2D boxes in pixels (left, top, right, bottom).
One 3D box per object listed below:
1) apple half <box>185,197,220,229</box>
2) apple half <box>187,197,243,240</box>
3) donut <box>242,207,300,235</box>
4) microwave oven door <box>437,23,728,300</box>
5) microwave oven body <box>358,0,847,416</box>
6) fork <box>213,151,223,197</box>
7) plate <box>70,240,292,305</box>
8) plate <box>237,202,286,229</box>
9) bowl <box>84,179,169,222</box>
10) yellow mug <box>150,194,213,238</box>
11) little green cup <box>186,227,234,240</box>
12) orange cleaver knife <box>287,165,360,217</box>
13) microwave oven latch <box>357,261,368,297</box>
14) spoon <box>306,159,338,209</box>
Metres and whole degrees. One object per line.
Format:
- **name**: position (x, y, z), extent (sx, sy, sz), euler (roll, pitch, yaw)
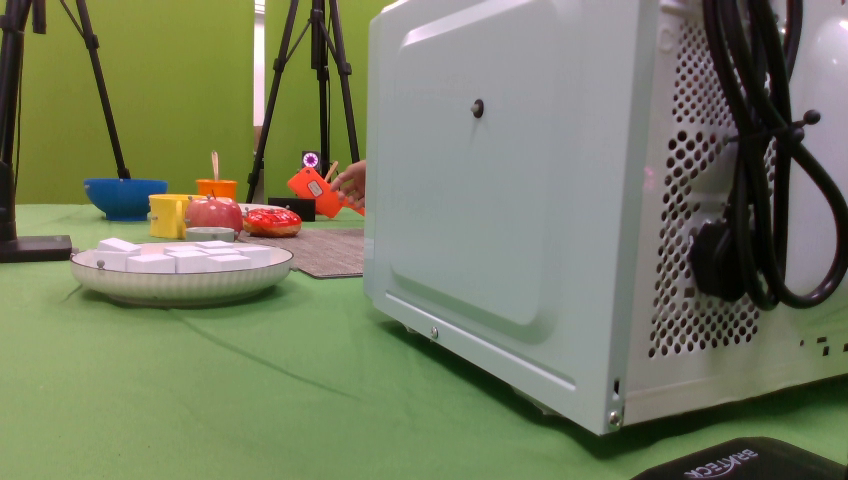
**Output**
- **apple half**: position (-0.338, -0.031, 0.927), extent (0.032, 0.081, 0.081), euler (12, 12, 31)
- **apple half**: position (-0.305, -0.026, 0.907), extent (0.053, 0.074, 0.081), euler (12, 8, 31)
- **donut**: position (-0.263, -0.032, 1.039), extent (0.099, 0.048, 0.099), euler (4, 9, 0)
- **microwave oven door**: position (0.181, -0.072, 0.621), extent (0.358, 0.243, 0.039), euler (-2, 8, -29)
- **microwave oven body**: position (0.211, -0.047, 0.474), extent (0.444, 0.260, 0.324), euler (-1, 7, -28)
- **fork**: position (-0.494, -0.143, 1.442), extent (0.028, 0.018, 0.206), euler (-2, 52, -20)
- **plate**: position (-0.242, 0.031, 0.618), extent (0.208, 0.039, 0.207), euler (2, 8, 0)
- **plate**: position (-0.376, -0.048, 1.184), extent (0.209, 0.038, 0.209), euler (2, 8, 0)
- **bowl**: position (-0.584, -0.078, 1.194), extent (0.151, 0.077, 0.151), euler (3, 8, 0)
- **yellow mug**: position (-0.401, -0.040, 1.003), extent (0.100, 0.064, 0.130), euler (-1, 9, -20)
- **little green cup**: position (-0.285, 0.005, 0.805), extent (0.061, 0.038, 0.061), euler (2, 8, 0)
- **orange cleaver knife**: position (-0.211, -0.093, 1.382), extent (0.212, 0.077, 0.012), euler (33, 1, -15)
- **microwave oven latch**: position (-0.019, 0.033, 0.531), extent (0.079, 0.029, 0.030), euler (-1, 7, -27)
- **spoon**: position (-0.257, -0.147, 1.567), extent (0.041, 0.022, 0.193), euler (2, 51, 20)
